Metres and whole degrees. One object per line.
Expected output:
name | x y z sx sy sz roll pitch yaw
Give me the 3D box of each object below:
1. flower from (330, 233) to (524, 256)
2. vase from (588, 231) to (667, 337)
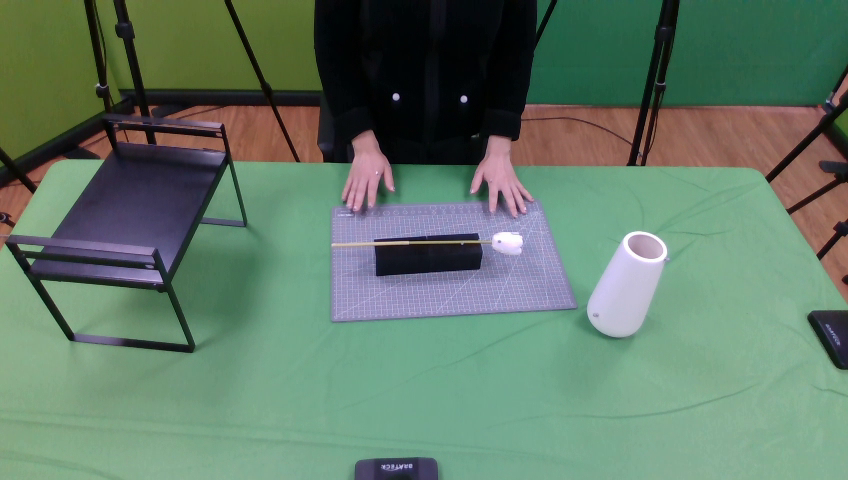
flower | 0.009 0.002 1.126 0.362 0.038 0.044 2 79 -7
vase | 0.343 0.078 1.023 0.098 0.201 0.097 2 47 -2
